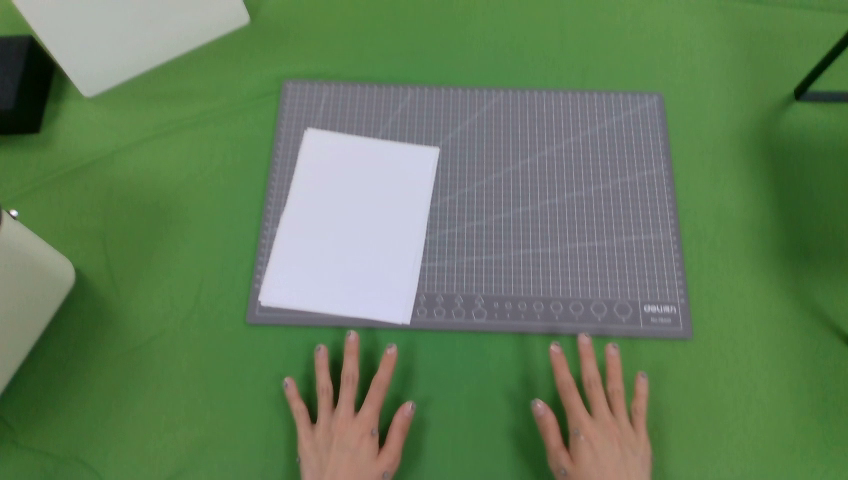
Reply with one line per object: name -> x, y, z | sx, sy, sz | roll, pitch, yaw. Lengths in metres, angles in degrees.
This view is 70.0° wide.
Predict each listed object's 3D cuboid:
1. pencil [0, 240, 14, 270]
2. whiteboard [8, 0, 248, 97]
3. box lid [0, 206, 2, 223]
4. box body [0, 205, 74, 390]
pencil -> -0.447, 0.084, 0.596 | 0.012, 0.012, 0.192 | 4, 60, 1
whiteboard -> -0.368, -0.356, 0.649 | 0.217, 0.308, 0.142 | -30, 52, -11
box lid -> -0.553, 0.010, 0.471 | 0.371, 0.015, 0.262 | 22, 70, 7
box body -> -0.552, 0.038, 0.539 | 0.363, 0.161, 0.253 | 22, 70, 7
